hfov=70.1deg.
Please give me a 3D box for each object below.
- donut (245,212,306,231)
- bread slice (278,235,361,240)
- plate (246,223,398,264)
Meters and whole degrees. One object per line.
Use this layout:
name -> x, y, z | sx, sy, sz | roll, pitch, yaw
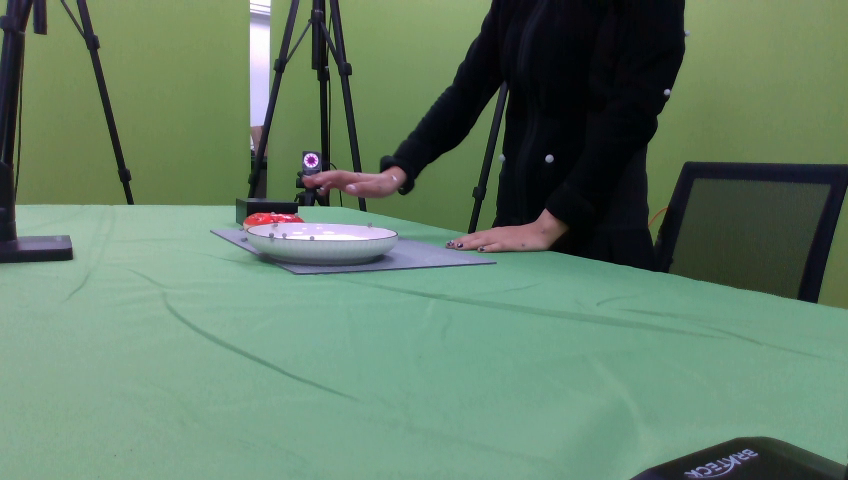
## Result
donut -> -0.244, -0.023, 0.997 | 0.099, 0.048, 0.099 | 2, 5, 0
bread slice -> -0.139, 0.007, 0.839 | 0.132, 0.019, 0.104 | -2, 8, -35
plate -> -0.140, 0.004, 0.847 | 0.209, 0.038, 0.209 | 2, 7, 0
